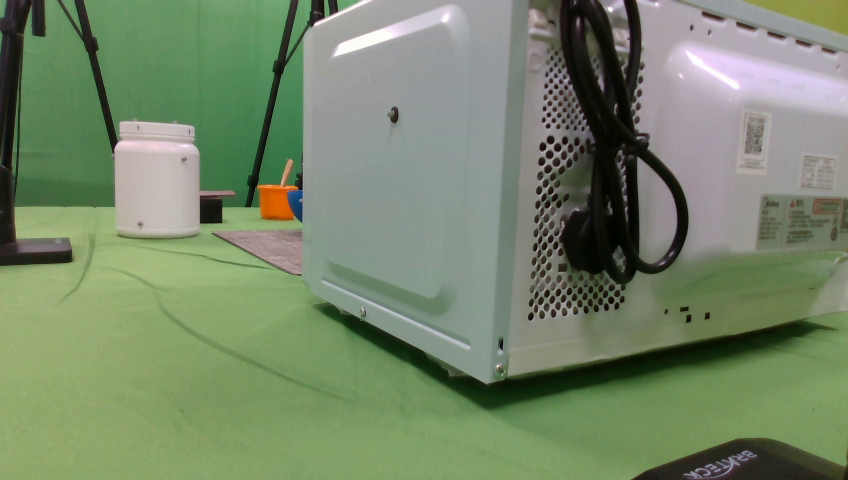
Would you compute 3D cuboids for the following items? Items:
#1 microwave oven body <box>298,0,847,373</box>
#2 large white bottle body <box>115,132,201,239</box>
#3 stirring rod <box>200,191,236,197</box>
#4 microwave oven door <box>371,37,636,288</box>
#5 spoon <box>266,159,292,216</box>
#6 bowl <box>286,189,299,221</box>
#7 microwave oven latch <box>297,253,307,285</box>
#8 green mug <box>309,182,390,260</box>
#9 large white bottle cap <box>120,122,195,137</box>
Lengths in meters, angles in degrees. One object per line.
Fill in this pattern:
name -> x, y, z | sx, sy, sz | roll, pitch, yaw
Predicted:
microwave oven body -> 0.151, -0.055, 0.543 | 0.444, 0.260, 0.324 | -1, 7, -33
large white bottle body -> -0.447, -0.100, 1.020 | 0.131, 0.184, 0.130 | 3, 7, 0
stirring rod -> -0.466, -0.098, 1.283 | 0.014, 0.006, 0.177 | 41, 21, 17
microwave oven door -> 0.109, -0.080, 0.687 | 0.358, 0.243, 0.039 | -2, 9, -33
spoon -> -0.334, -0.127, 1.424 | 0.041, 0.193, 0.022 | 0, -37, 7
bowl -> -0.179, -0.051, 1.115 | 0.151, 0.077, 0.151 | 3, 8, 0
microwave oven latch -> -0.082, 0.027, 0.582 | 0.079, 0.029, 0.030 | -1, 7, -32
green mug -> -0.102, -0.029, 0.864 | 0.126, 0.105, 0.092 | -4, 9, -40
large white bottle cap -> -0.444, -0.183, 1.010 | 0.115, 0.018, 0.115 | 2, 7, 0
